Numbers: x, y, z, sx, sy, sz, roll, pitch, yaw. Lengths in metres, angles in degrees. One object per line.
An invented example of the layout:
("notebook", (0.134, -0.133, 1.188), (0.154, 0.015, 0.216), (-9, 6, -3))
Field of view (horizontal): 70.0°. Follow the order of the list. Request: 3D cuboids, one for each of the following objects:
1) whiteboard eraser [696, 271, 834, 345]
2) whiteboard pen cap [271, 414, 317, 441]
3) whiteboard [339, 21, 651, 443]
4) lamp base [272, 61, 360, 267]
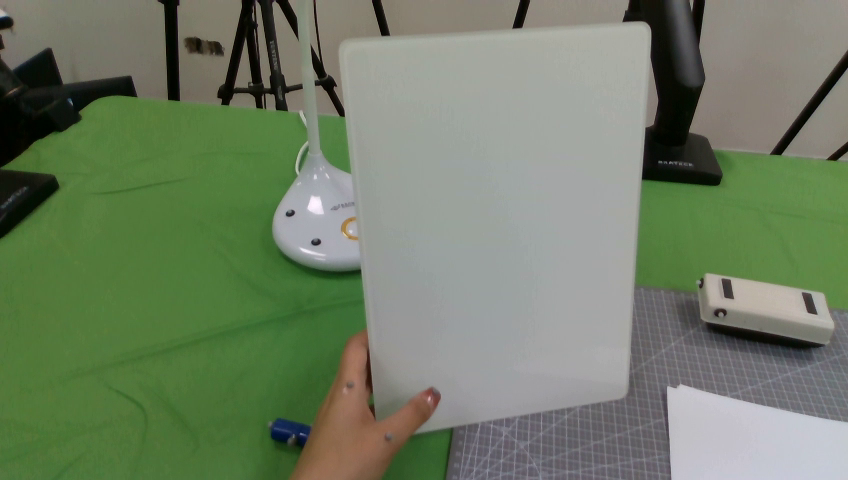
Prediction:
("whiteboard eraser", (0.322, 0.066, 0.579), (0.112, 0.042, 0.055), (11, 40, 12))
("whiteboard pen cap", (-0.103, 0.149, 0.483), (0.033, 0.018, 0.018), (8, 39, 9))
("whiteboard", (0.049, -0.016, 0.512), (0.217, 0.307, 0.142), (-6, 20, -9))
("lamp base", (-0.099, -0.089, 0.653), (0.161, 0.182, 0.177), (-26, 43, -30))
